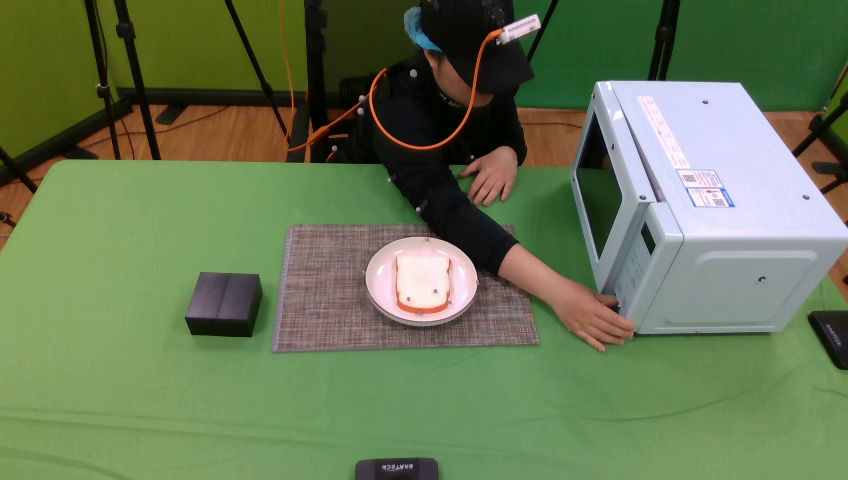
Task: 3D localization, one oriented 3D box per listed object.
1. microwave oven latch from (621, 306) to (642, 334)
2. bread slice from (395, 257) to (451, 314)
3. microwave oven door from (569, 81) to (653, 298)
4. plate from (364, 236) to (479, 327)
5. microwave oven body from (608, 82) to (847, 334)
[{"bbox_3d":[0.363,0.127,1.066,0.030,0.029,0.079,9,45,6],"label":"microwave oven latch"},{"bbox_3d":[-0.001,0.080,1.109,0.105,0.019,0.130,1,45,-2],"label":"bread slice"},{"bbox_3d":[0.344,-0.103,1.146,0.039,0.245,0.353,2,46,-2],"label":"microwave oven door"},{"bbox_3d":[-0.004,0.078,1.107,0.209,0.038,0.208,2,46,-2],"label":"plate"},{"bbox_3d":[0.501,-0.070,1.132,0.326,0.261,0.438,-1,45,-3],"label":"microwave oven body"}]
